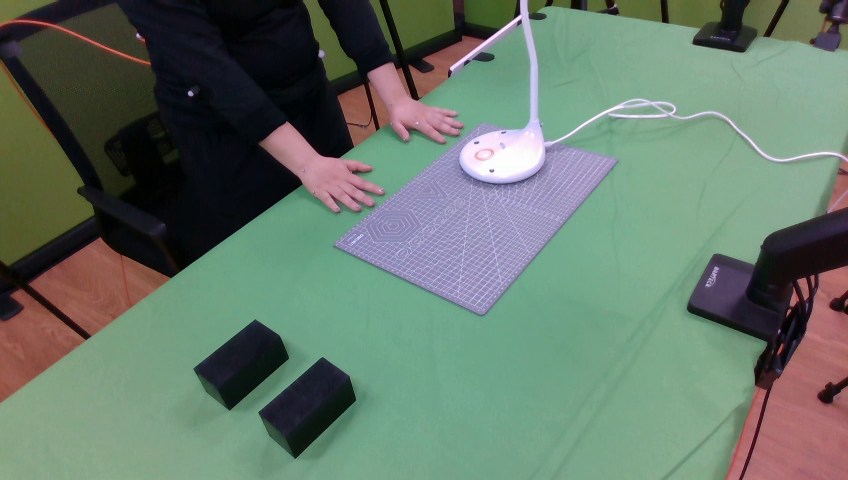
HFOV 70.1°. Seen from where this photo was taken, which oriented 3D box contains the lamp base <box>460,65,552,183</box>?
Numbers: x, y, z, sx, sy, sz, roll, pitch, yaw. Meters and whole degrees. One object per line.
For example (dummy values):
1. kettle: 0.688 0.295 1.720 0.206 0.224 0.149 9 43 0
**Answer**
1. lamp base: 0.149 -0.218 1.078 0.180 0.181 0.159 -19 41 -17
